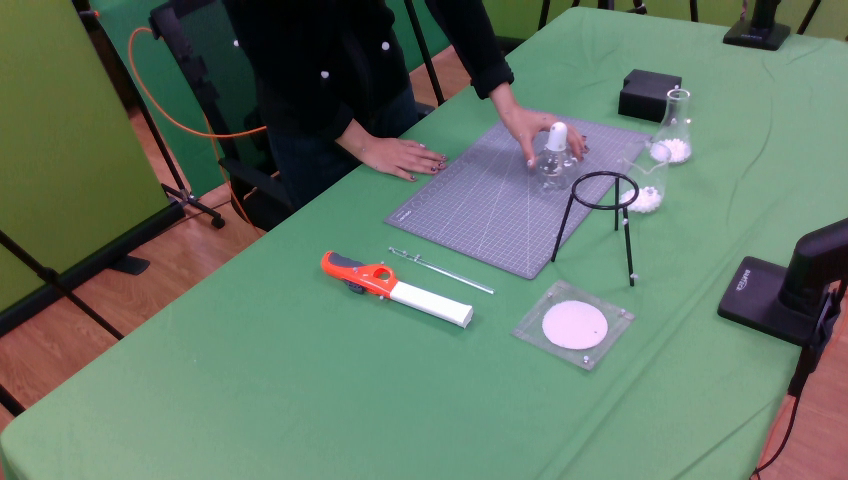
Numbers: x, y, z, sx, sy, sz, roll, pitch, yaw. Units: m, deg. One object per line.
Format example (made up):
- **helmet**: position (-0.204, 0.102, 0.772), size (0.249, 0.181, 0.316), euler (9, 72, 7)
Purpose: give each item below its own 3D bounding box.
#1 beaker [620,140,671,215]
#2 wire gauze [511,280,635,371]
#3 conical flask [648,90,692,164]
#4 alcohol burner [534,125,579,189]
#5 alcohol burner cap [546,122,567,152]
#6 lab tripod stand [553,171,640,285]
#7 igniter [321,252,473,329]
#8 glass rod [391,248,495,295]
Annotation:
- **beaker**: position (0.352, -0.096, 0.971), size (0.074, 0.101, 0.084), euler (1, 42, 13)
- **wire gauze**: position (0.203, 0.114, 0.822), size (0.120, 0.011, 0.125), euler (25, 52, 35)
- **conical flask**: position (0.437, -0.199, 1.057), size (0.075, 0.122, 0.075), euler (-5, 40, 5)
- **alcohol burner**: position (0.229, -0.149, 1.040), size (0.078, 0.119, 0.077), euler (-5, 42, 5)
- **alcohol burner cap**: position (0.225, -0.175, 1.016), size (0.034, 0.048, 0.033), euler (0, 40, 0)
- **lab tripod stand**: position (0.260, -0.025, 0.877), size (0.148, 0.132, 0.147), euler (-6, 38, 5)
- **igniter**: position (-0.051, 0.071, 0.906), size (0.274, 0.025, 0.057), euler (19, 57, 29)
- **glass rod**: position (0.026, 0.046, 0.936), size (0.198, 0.008, 0.008), euler (22, 50, 32)
